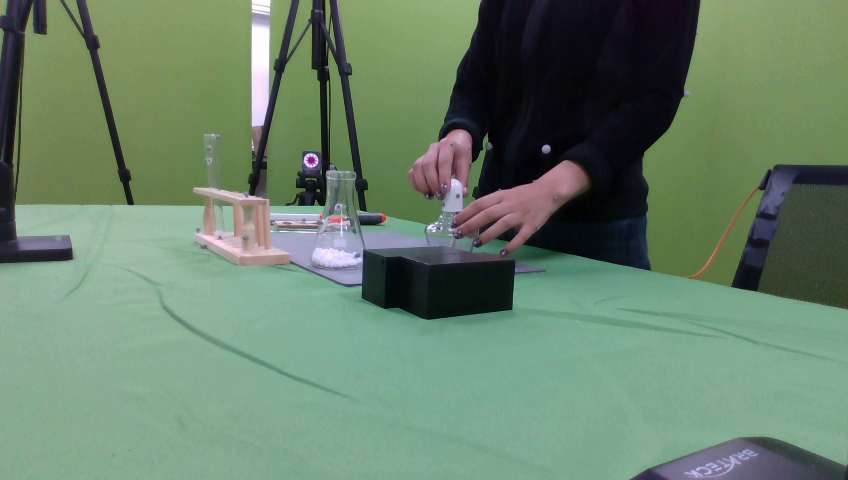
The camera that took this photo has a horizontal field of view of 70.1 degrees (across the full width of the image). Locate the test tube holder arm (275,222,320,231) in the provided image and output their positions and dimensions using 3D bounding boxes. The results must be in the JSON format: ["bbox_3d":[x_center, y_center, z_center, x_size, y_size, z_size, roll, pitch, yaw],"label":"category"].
[{"bbox_3d":[-0.238,-0.026,1.145,0.088,0.015,0.010,-3,45,-38],"label":"test tube holder arm"}]

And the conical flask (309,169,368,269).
[{"bbox_3d":[-0.106,-0.028,0.762,0.075,0.122,0.075,2,7,0],"label":"conical flask"}]

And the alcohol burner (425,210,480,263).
[{"bbox_3d":[0.040,-0.028,0.853,0.078,0.119,0.078,2,9,0],"label":"alcohol burner"}]

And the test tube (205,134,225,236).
[{"bbox_3d":[-0.305,-0.079,0.883,0.017,0.150,0.017,-2,10,1],"label":"test tube"}]

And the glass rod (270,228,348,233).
[{"bbox_3d":[-0.234,-0.017,1.105,0.201,0.008,0.008,1,7,-26],"label":"glass rod"}]

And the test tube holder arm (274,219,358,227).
[{"bbox_3d":[-0.206,-0.032,1.176,0.179,0.015,0.013,-4,46,-39],"label":"test tube holder arm"}]

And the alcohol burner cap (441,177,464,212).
[{"bbox_3d":[0.040,-0.064,0.847,0.034,0.048,0.034,-1,12,0],"label":"alcohol burner cap"}]

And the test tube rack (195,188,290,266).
[{"bbox_3d":[-0.266,-0.025,0.864,0.067,0.085,0.241,-2,8,-33],"label":"test tube rack"}]

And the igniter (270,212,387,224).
[{"bbox_3d":[-0.213,-0.048,1.278,0.278,0.025,0.057,-1,-2,-25],"label":"igniter"}]
